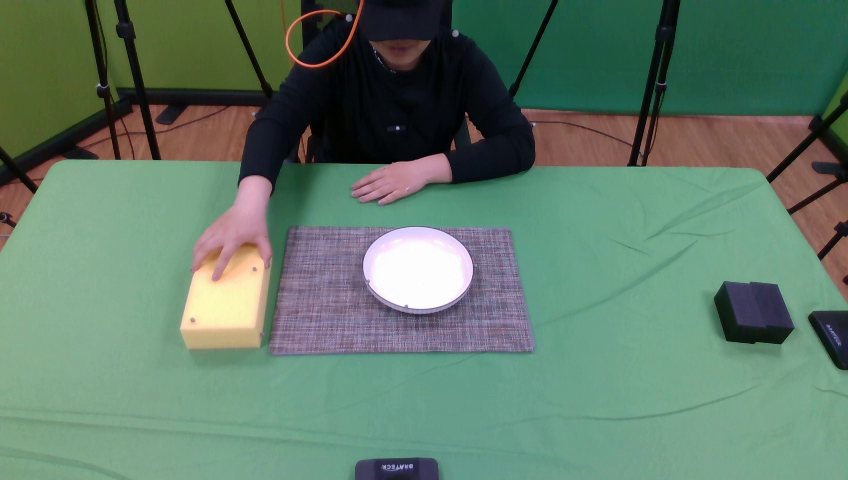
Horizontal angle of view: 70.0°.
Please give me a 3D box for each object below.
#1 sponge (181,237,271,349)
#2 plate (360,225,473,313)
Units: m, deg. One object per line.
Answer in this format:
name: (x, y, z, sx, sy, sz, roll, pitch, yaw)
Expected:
sponge: (-0.341, 0.088, 1.062, 0.118, 0.061, 0.205, -2, 46, -5)
plate: (-0.014, 0.057, 1.127, 0.208, 0.039, 0.206, 2, 46, -2)
